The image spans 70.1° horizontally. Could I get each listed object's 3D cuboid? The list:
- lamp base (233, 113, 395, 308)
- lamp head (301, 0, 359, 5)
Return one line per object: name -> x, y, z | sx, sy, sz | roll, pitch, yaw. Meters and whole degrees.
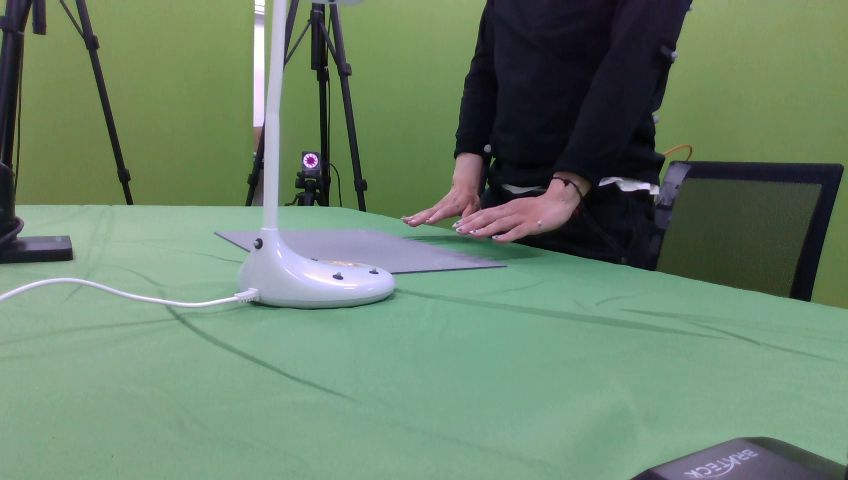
lamp base -> -0.113, -0.033, 0.600 | 0.160, 0.180, 0.180 | 6, 11, 28
lamp head -> -0.095, -0.314, 0.610 | 0.112, 0.123, 0.112 | -4, 50, 5
